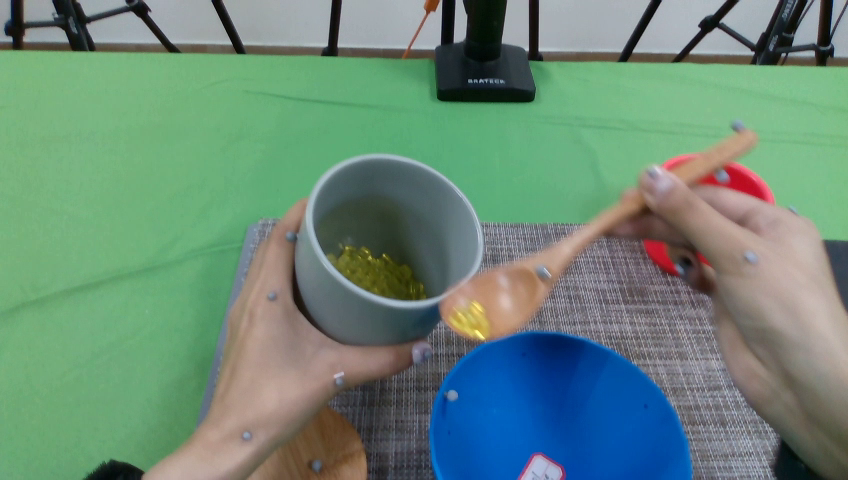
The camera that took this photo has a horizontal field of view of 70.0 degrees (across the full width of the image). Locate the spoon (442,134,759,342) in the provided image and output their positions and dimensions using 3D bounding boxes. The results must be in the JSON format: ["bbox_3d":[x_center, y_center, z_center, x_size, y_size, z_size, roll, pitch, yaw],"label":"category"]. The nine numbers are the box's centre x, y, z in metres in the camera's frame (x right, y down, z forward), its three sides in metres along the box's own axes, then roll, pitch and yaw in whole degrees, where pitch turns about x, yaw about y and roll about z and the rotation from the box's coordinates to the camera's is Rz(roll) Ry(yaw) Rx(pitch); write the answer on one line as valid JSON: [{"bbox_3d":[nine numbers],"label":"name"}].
[{"bbox_3d":[0.095,-0.004,0.317,0.194,0.022,0.041,-33,45,0],"label":"spoon"}]

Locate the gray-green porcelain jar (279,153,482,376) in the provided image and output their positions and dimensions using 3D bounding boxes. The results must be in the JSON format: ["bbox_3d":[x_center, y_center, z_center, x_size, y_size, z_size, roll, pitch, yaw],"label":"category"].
[{"bbox_3d":[-0.035,0.024,0.391,0.106,0.127,0.105,11,56,-16],"label":"gray-green porcelain jar"}]

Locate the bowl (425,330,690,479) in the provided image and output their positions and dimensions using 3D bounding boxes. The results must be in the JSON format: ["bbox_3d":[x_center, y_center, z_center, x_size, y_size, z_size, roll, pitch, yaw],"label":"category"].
[{"bbox_3d":[0.075,0.139,0.375,0.151,0.077,0.150,2,46,-1],"label":"bowl"}]

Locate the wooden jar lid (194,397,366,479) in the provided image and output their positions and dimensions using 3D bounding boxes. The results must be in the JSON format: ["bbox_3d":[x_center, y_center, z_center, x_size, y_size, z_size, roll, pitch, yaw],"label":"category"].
[{"bbox_3d":[-0.092,0.154,0.391,0.108,0.021,0.107,1,45,-1],"label":"wooden jar lid"}]
